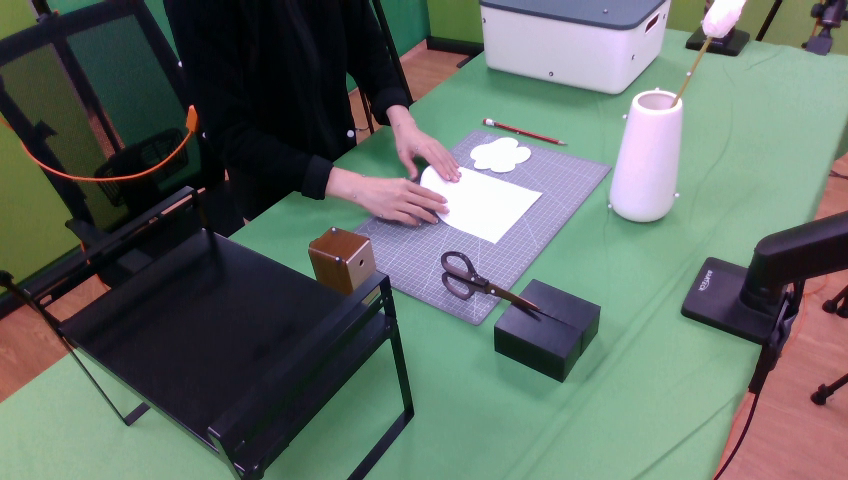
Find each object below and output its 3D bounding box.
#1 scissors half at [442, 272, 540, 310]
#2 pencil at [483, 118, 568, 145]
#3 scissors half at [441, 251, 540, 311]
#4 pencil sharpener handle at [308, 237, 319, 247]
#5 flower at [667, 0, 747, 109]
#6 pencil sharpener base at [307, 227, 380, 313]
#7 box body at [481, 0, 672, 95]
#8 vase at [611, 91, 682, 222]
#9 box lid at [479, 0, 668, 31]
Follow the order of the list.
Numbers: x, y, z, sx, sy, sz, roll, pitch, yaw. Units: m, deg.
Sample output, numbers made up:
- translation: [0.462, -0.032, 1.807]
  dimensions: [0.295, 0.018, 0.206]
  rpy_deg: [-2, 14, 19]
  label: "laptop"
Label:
- translation: [0.089, 0.074, 0.832]
  dimensions: [0.013, 0.040, 0.173]
  rpy_deg: [-24, 23, -38]
  label: "scissors half"
- translation: [0.201, -0.217, 1.212]
  dimensions: [0.192, 0.012, 0.012]
  rpy_deg: [24, 49, 29]
  label: "pencil"
- translation: [0.087, 0.056, 0.824]
  dimensions: [0.013, 0.040, 0.173]
  rpy_deg: [-30, 44, -35]
  label: "scissors half"
- translation: [-0.159, 0.018, 0.892]
  dimensions: [0.030, 0.068, 0.036]
  rpy_deg: [18, 60, 28]
  label: "pencil sharpener handle"
- translation: [0.354, -0.187, 0.879]
  dimensions: [0.038, 0.362, 0.044]
  rpy_deg: [30, 48, 14]
  label: "flower"
- translation: [-0.116, 0.043, 0.875]
  dimensions: [0.076, 0.107, 0.061]
  rpy_deg: [18, 47, 27]
  label: "pencil sharpener base"
- translation: [0.341, -0.480, 1.381]
  dimensions: [0.361, 0.161, 0.255]
  rpy_deg: [22, 48, 30]
  label: "box body"
- translation: [0.348, -0.125, 0.935]
  dimensions: [0.098, 0.201, 0.097]
  rpy_deg: [-3, 40, 3]
  label: "vase"
- translation: [0.335, -0.536, 1.331]
  dimensions: [0.368, 0.015, 0.264]
  rpy_deg: [23, 49, 30]
  label: "box lid"
